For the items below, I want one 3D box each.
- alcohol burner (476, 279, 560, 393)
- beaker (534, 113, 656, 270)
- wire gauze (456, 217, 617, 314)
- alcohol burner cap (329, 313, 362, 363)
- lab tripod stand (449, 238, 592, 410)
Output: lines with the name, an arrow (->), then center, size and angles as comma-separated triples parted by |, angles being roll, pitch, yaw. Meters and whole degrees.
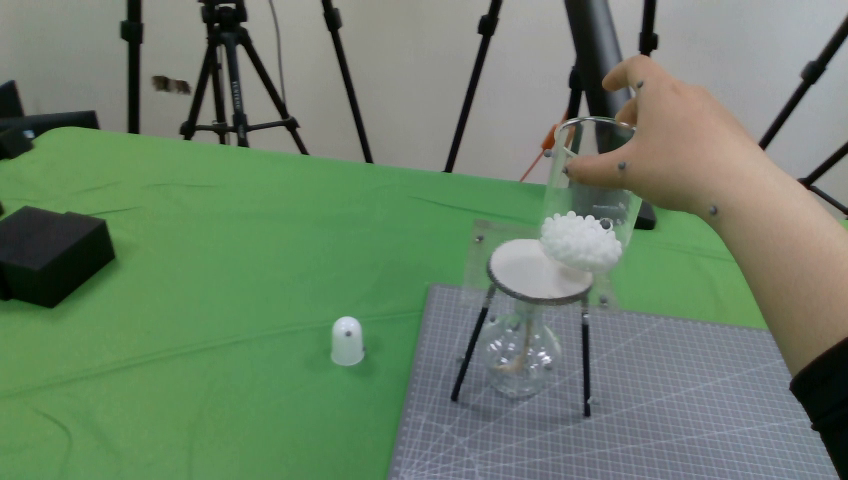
alcohol burner -> 0.089, 0.082, 0.553 | 0.078, 0.120, 0.077 | 5, 36, -3
beaker -> 0.125, -0.032, 0.458 | 0.074, 0.101, 0.083 | 8, 39, 7
wire gauze -> 0.093, 0.020, 0.506 | 0.121, 0.011, 0.124 | 7, 33, 5
alcohol burner cap -> -0.076, 0.092, 0.586 | 0.034, 0.048, 0.033 | 4, 35, -2
lab tripod stand -> 0.091, 0.073, 0.548 | 0.148, 0.132, 0.147 | 2, 33, -1
